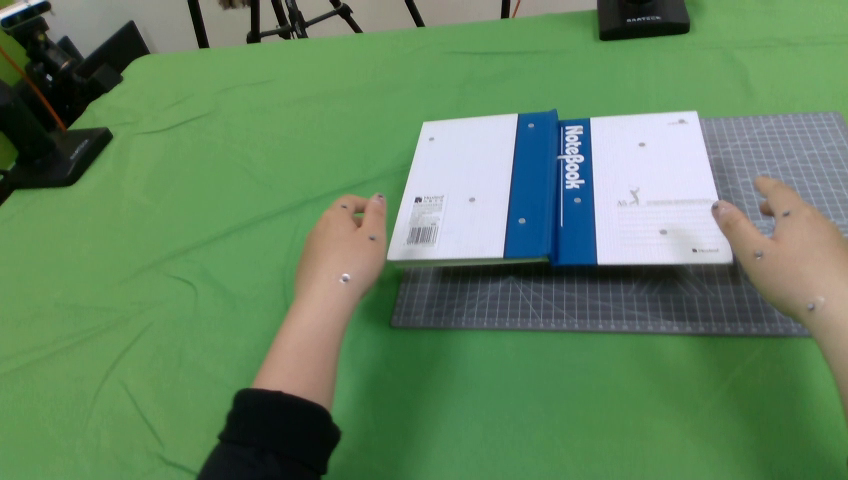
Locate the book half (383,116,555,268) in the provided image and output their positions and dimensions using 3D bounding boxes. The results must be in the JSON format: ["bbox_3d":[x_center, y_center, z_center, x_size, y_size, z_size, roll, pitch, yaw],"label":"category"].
[{"bbox_3d":[0.051,-0.051,0.596,0.148,0.016,0.208,-2,46,15],"label":"book half"}]

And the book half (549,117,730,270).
[{"bbox_3d":[0.191,-0.050,0.567,0.143,0.007,0.208,-1,45,14],"label":"book half"}]
